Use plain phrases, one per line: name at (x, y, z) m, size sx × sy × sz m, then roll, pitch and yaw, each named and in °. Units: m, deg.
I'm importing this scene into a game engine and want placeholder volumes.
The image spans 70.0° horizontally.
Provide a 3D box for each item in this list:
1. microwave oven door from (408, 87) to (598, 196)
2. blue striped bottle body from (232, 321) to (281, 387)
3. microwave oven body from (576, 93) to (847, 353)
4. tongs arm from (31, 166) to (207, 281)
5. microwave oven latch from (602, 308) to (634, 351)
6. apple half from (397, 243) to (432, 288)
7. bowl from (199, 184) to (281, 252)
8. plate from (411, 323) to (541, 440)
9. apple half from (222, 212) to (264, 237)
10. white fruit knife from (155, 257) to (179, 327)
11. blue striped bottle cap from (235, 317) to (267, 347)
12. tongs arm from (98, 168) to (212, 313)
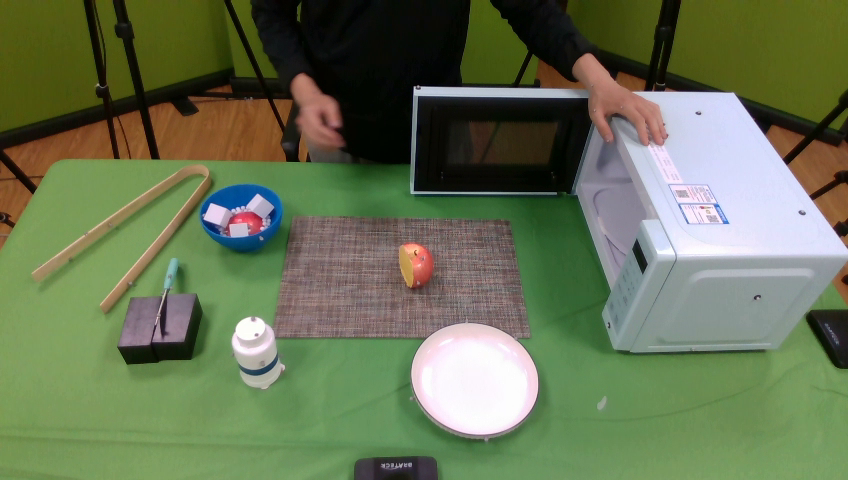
microwave oven door at (0.149, -0.194, 1.227) m, size 0.356 × 0.245 × 0.039 m, roll 0°, pitch 45°, yaw -5°
blue striped bottle body at (-0.262, 0.171, 0.944) m, size 0.063 × 0.121 × 0.062 m, roll 2°, pitch 46°, yaw -2°
microwave oven body at (0.475, -0.041, 1.109) m, size 0.326 × 0.261 × 0.438 m, roll -1°, pitch 45°, yaw -4°
tongs arm at (-0.578, -0.040, 1.184) m, size 0.050 × 0.026 × 0.384 m, roll 23°, pitch 48°, yaw 17°
microwave oven latch at (0.332, 0.153, 1.044) m, size 0.030 × 0.029 × 0.078 m, roll -1°, pitch 45°, yaw -4°
apple half at (-0.013, 0.047, 1.115) m, size 0.053 × 0.075 × 0.080 m, roll -10°, pitch 43°, yaw -21°
bowl at (-0.347, -0.030, 1.164) m, size 0.151 × 0.077 × 0.150 m, roll 3°, pitch 46°, yaw -3°
plate at (0.082, 0.228, 0.976) m, size 0.208 × 0.039 × 0.206 m, roll 2°, pitch 45°, yaw -2°
apple half at (-0.346, -0.033, 1.161) m, size 0.081 × 0.033 × 0.081 m, roll 4°, pitch 47°, yaw -4°
white fruit knife at (-0.440, 0.085, 1.037) m, size 0.016 × 0.027 × 0.206 m, roll 10°, pitch 26°, yaw -19°
blue striped bottle cap at (-0.259, 0.137, 0.907) m, size 0.044 × 0.021 × 0.044 m, roll 3°, pitch 43°, yaw -2°
tongs arm at (-0.503, -0.012, 1.167) m, size 0.028 × 0.028 × 0.385 m, roll 11°, pitch 46°, yaw 11°
